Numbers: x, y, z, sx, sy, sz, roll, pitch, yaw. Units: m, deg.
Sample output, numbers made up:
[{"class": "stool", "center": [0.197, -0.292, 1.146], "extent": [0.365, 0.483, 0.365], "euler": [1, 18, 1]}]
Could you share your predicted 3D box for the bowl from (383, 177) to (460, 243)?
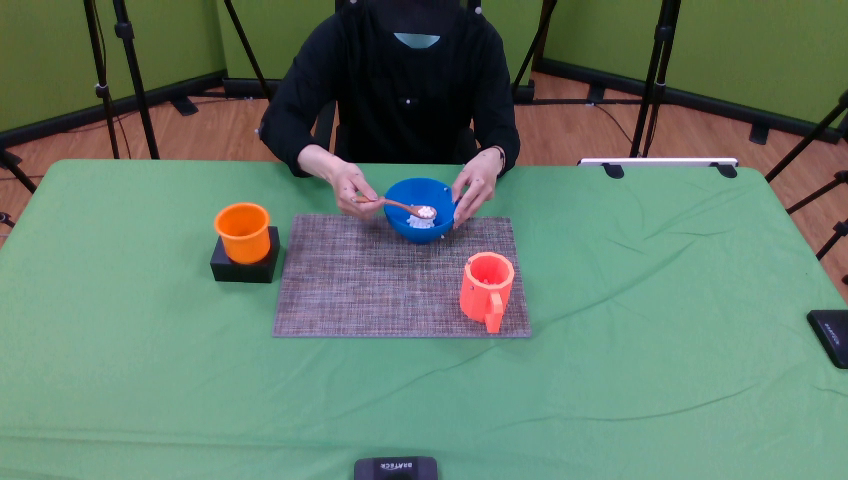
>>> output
[{"class": "bowl", "center": [-0.007, -0.048, 1.197], "extent": [0.151, 0.077, 0.150], "euler": [2, 46, -2]}]

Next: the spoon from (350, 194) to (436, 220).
[{"class": "spoon", "center": [-0.055, -0.066, 1.132], "extent": [0.195, 0.021, 0.041], "euler": [13, 41, -40]}]

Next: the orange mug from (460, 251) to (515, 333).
[{"class": "orange mug", "center": [0.114, 0.095, 1.053], "extent": [0.083, 0.101, 0.125], "euler": [-5, 42, -8]}]
